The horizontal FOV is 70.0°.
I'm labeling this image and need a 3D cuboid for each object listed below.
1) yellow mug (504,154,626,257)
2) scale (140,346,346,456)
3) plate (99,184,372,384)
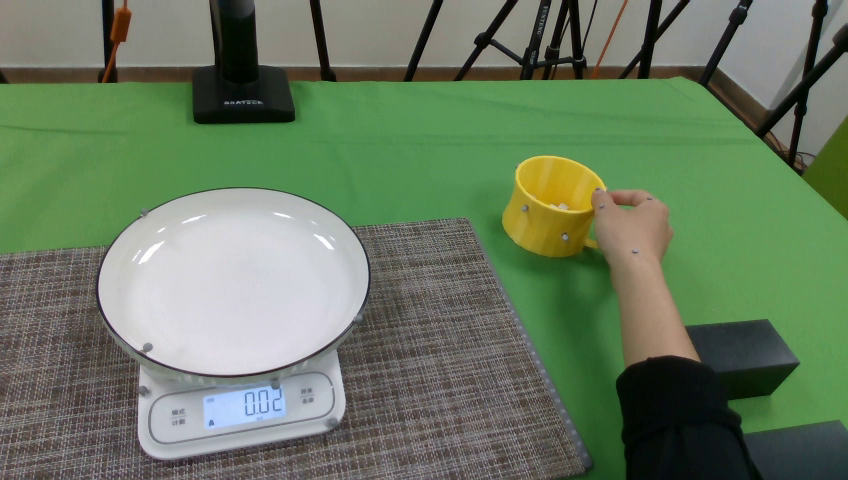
[{"bbox_3d":[0.157,-0.032,0.661,0.130,0.064,0.099,28,46,16],"label":"yellow mug"},{"bbox_3d":[-0.151,0.073,0.503,0.149,0.032,0.198,-5,46,-16],"label":"scale"},{"bbox_3d":[-0.148,0.032,0.498,0.209,0.038,0.207,7,43,-6],"label":"plate"}]
